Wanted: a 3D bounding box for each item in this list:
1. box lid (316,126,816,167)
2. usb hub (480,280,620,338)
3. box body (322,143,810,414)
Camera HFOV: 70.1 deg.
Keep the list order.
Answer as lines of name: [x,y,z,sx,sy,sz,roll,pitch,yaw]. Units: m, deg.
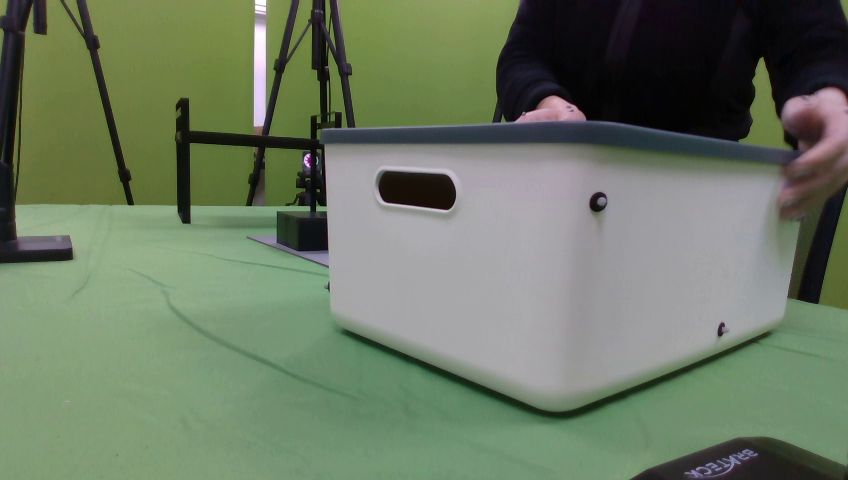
box lid: [0.128,-0.073,0.502,0.374,0.015,0.262,-4,10,-41]
usb hub: [0.111,0.057,0.525,0.126,0.025,0.049,-5,13,-35]
box body: [0.124,-0.001,0.510,0.366,0.160,0.253,-4,10,-41]
